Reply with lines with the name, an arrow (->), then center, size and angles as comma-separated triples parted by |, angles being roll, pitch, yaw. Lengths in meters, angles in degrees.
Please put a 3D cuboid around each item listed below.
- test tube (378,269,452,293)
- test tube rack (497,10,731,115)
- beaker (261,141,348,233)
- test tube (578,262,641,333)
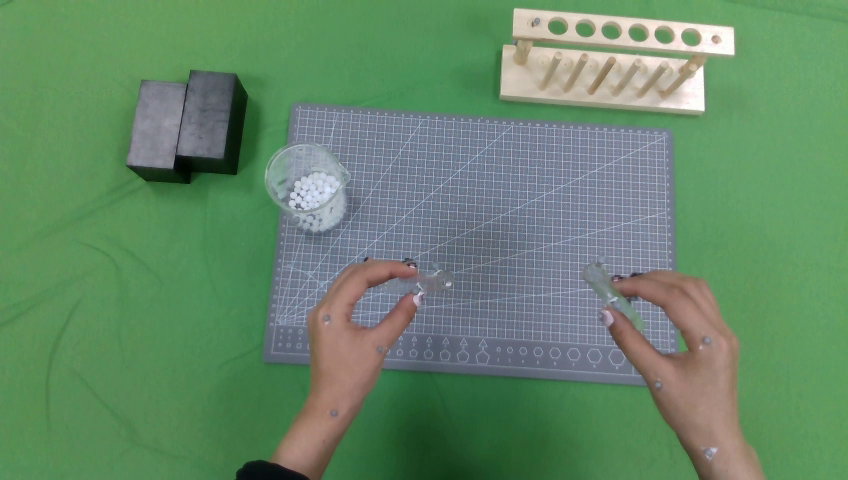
test tube -> -0.012, 0.037, 0.516 | 0.017, 0.150, 0.017 | 2, 84, -21
test tube rack -> 0.211, -0.201, 0.694 | 0.242, 0.085, 0.066 | 4, 77, -1
beaker -> -0.119, -0.051, 0.638 | 0.084, 0.100, 0.073 | -4, 78, -4
test tube -> 0.148, 0.048, 0.472 | 0.017, 0.152, 0.017 | -13, 63, 26
